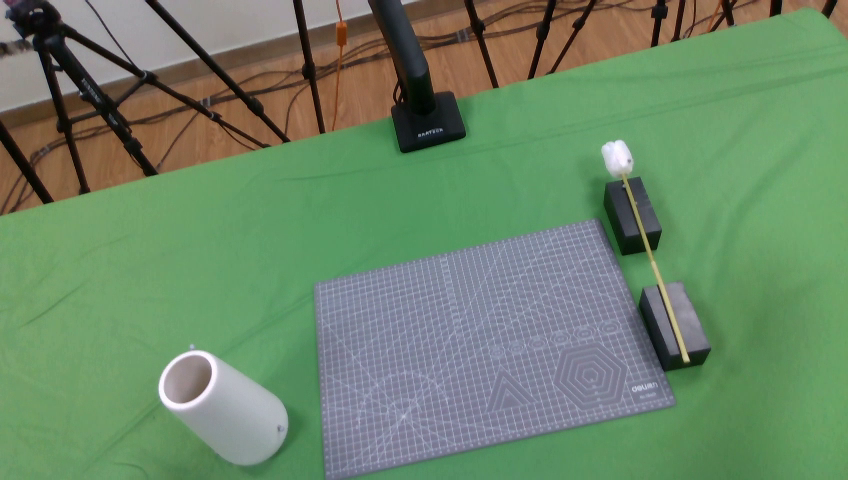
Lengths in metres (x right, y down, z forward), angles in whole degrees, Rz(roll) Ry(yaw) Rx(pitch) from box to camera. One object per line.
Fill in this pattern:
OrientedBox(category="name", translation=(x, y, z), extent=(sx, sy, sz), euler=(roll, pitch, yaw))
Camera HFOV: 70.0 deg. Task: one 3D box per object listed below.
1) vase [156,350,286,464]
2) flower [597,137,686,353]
OrientedBox(category="vase", translation=(-0.241, 0.204, 0.738), extent=(0.098, 0.202, 0.097), euler=(-4, 55, 7))
OrientedBox(category="flower", translation=(0.297, -0.008, 0.826), extent=(0.044, 0.038, 0.358), euler=(11, 50, -19))
